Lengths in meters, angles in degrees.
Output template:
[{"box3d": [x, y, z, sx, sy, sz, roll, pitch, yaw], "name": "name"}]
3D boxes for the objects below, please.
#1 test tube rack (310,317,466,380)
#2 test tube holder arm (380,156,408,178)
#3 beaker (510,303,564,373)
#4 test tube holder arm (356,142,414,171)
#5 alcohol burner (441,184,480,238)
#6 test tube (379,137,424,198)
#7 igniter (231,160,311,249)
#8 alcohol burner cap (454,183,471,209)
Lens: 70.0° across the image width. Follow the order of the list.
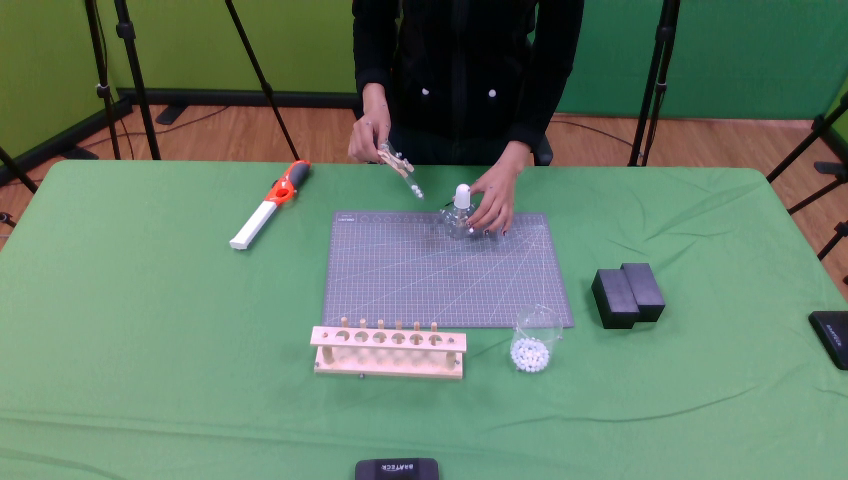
[{"box3d": [-0.056, 0.171, 0.986, 0.242, 0.085, 0.066, 3, 45, -1], "name": "test tube rack"}, {"box3d": [-0.054, -0.133, 1.075, 0.010, 0.015, 0.087, -43, 40, -5], "name": "test tube holder arm"}, {"box3d": [0.182, 0.164, 1.000, 0.074, 0.101, 0.083, 2, 46, -1], "name": "beaker"}, {"box3d": [-0.075, -0.154, 1.109, 0.013, 0.015, 0.177, -47, 41, -11], "name": "test tube holder arm"}, {"box3d": [0.074, -0.062, 1.195, 0.078, 0.120, 0.077, 1, 47, -1], "name": "alcohol burner"}, {"box3d": [-0.037, -0.124, 1.062, 0.017, 0.151, 0.017, -17, 48, 19], "name": "test tube"}, {"box3d": [-0.311, -0.081, 1.250, 0.057, 0.025, 0.275, 9, 45, 18], "name": "igniter"}, {"box3d": [0.076, -0.088, 1.171, 0.034, 0.048, 0.033, 3, 41, -2], "name": "alcohol burner cap"}]
